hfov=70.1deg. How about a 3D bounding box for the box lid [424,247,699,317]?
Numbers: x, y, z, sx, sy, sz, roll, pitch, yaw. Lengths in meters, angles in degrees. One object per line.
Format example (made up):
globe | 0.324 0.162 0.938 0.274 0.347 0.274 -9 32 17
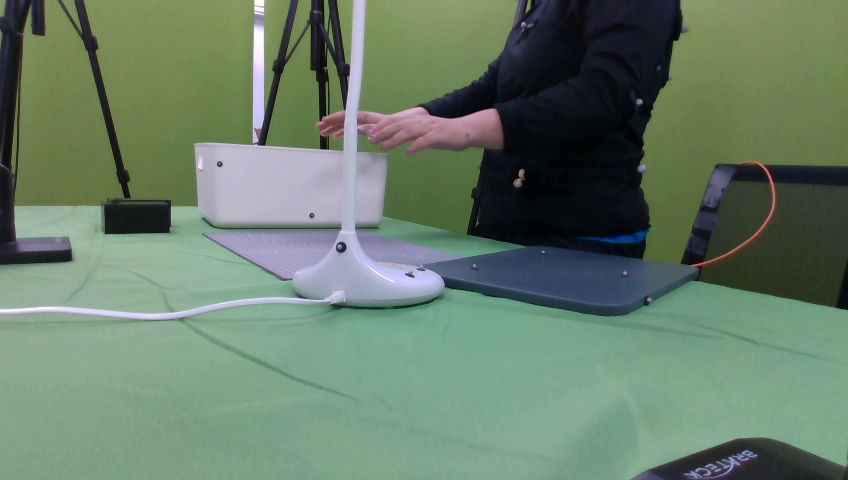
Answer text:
box lid | 0.184 0.044 0.789 0.262 0.015 0.373 8 9 35

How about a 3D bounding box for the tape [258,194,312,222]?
tape | -0.299 -0.070 1.297 0.117 0.052 0.117 3 6 0

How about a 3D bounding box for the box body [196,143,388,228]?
box body | -0.286 -0.118 1.291 0.366 0.160 0.253 -1 8 -27

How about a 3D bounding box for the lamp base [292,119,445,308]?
lamp base | -0.056 -0.030 0.616 0.160 0.180 0.179 4 10 8
